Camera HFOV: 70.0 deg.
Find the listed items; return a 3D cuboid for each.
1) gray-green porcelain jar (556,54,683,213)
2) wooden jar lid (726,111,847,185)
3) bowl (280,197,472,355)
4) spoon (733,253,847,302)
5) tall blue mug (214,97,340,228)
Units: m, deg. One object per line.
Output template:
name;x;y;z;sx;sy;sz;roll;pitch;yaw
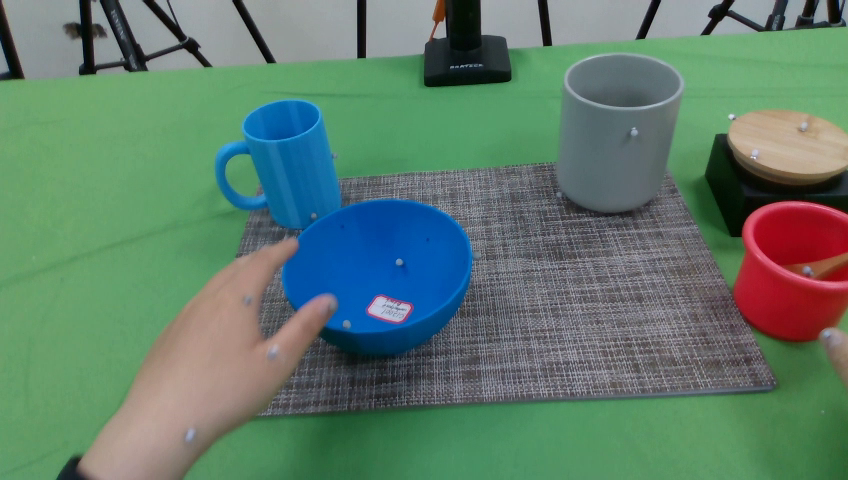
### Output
gray-green porcelain jar;0.184;-0.099;0.589;0.106;0.128;0.105;-3;43;3
wooden jar lid;0.341;-0.086;0.570;0.108;0.021;0.107;-3;43;4
bowl;-0.035;0.041;0.497;0.151;0.077;0.150;-3;43;3
spoon;0.328;0.012;0.449;0.022;0.193;0.041;48;48;-12
tall blue mug;-0.142;-0.069;0.604;0.107;0.109;0.077;-36;52;-29
